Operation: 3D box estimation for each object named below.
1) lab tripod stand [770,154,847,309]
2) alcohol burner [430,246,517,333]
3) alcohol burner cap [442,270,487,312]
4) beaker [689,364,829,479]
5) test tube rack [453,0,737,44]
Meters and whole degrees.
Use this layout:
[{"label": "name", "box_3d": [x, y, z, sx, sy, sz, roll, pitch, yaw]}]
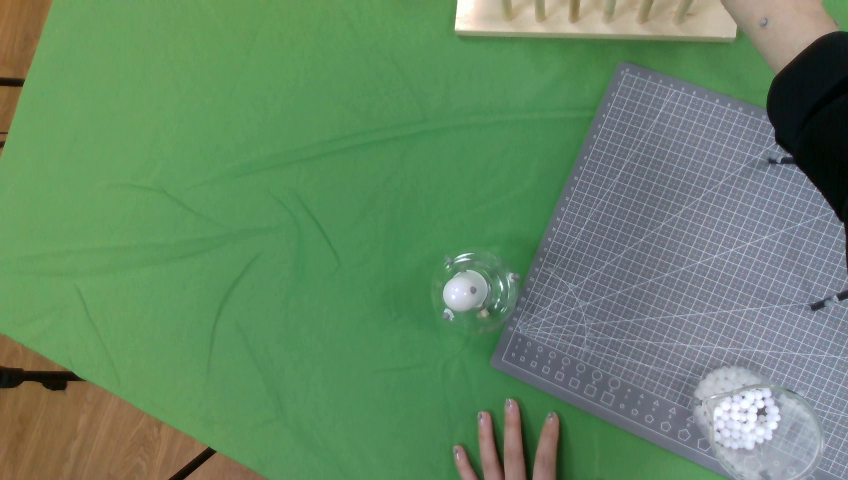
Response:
[{"label": "lab tripod stand", "box_3d": [0.325, -0.015, 0.435, 0.148, 0.132, 0.148, 0, 91, 12]}, {"label": "alcohol burner", "box_3d": [0.040, 0.043, 0.516, 0.078, 0.119, 0.078, 0, 88, 12]}, {"label": "alcohol burner cap", "box_3d": [0.030, 0.041, 0.481, 0.034, 0.048, 0.034, 1, 93, 14]}, {"label": "beaker", "box_3d": [0.249, 0.137, 0.470, 0.083, 0.100, 0.074, 30, 95, 13]}, {"label": "test tube rack", "box_3d": [0.140, -0.215, 0.508, 0.241, 0.085, 0.066, 6, 91, 13]}]
